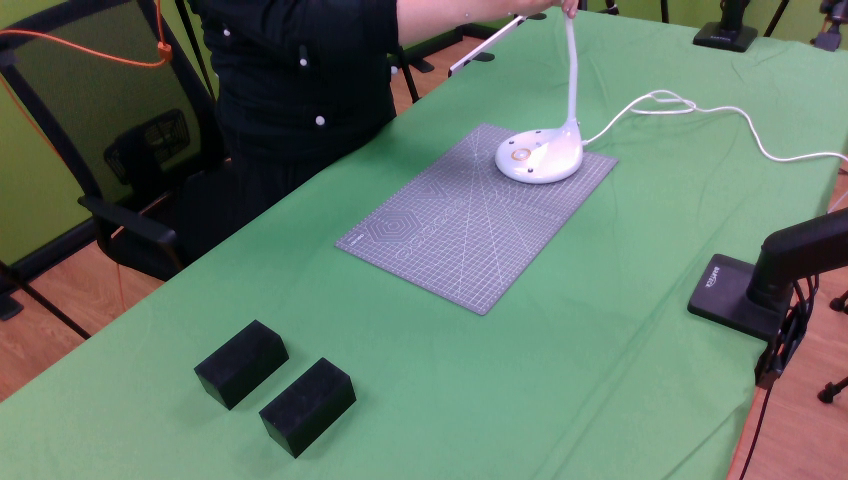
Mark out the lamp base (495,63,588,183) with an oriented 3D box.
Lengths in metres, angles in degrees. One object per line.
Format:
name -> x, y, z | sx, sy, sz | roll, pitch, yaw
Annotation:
lamp base -> 0.215, -0.217, 1.067 | 0.180, 0.181, 0.159 | -19, 42, -18
